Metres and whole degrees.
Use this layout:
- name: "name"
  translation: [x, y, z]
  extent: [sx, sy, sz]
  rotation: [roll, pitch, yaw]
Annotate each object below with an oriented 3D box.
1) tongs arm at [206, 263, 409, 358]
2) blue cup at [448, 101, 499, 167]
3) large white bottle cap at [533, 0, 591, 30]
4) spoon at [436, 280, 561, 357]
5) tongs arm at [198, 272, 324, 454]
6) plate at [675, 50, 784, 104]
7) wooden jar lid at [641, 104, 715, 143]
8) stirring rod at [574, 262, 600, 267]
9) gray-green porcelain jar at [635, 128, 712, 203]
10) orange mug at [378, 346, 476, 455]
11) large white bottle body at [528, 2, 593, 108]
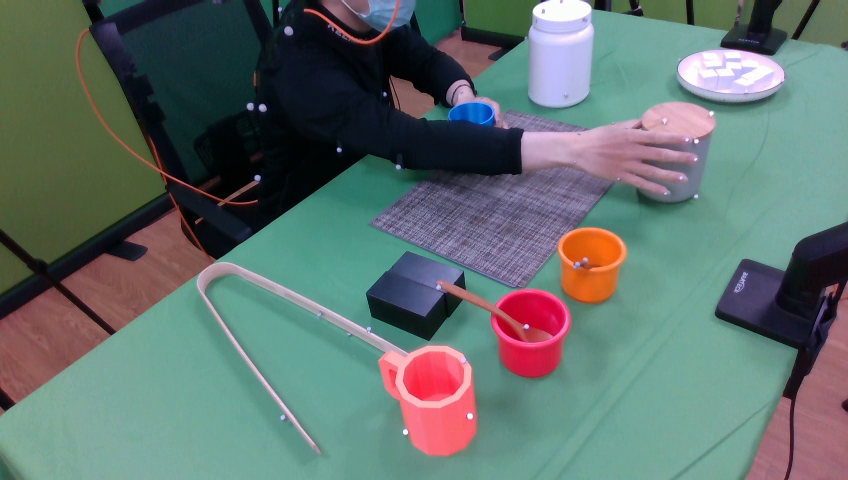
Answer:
- name: "tongs arm"
  translation: [-0.179, 0.106, 0.870]
  extent: [0.382, 0.027, 0.051]
  rotation: [23, 54, 32]
- name: "blue cup"
  translation: [0.092, -0.192, 1.121]
  extent: [0.092, 0.101, 0.092]
  rotation: [-6, 41, 5]
- name: "large white bottle cap"
  translation: [0.274, -0.449, 1.204]
  extent: [0.115, 0.018, 0.114]
  rotation: [-4, 41, 4]
- name: "spoon"
  translation: [0.096, 0.095, 0.758]
  extent: [0.195, 0.021, 0.041]
  rotation: [34, 41, -20]
- name: "tongs arm"
  translation: [-0.236, 0.154, 0.831]
  extent: [0.028, 0.028, 0.384]
  rotation: [-37, 48, -18]
- name: "plate"
  translation: [0.632, -0.336, 1.262]
  extent: [0.207, 0.039, 0.206]
  rotation: [-4, 41, 4]
- name: "wooden jar lid"
  translation: [0.398, -0.180, 0.952]
  extent: [0.108, 0.021, 0.108]
  rotation: [-4, 43, 4]
- name: "stirring rod"
  translation: [0.222, 0.033, 0.816]
  extent: [0.014, 0.006, 0.177]
  rotation: [9, 2, 22]
- name: "gray-green porcelain jar"
  translation: [0.405, -0.133, 0.992]
  extent: [0.106, 0.127, 0.105]
  rotation: [-4, 41, 4]
- name: "orange mug"
  translation: [0.002, 0.179, 0.708]
  extent: [0.125, 0.101, 0.083]
  rotation: [25, 50, 27]
- name: "large white bottle body"
  translation: [0.283, -0.386, 1.259]
  extent: [0.130, 0.185, 0.130]
  rotation: [-5, 41, 5]
